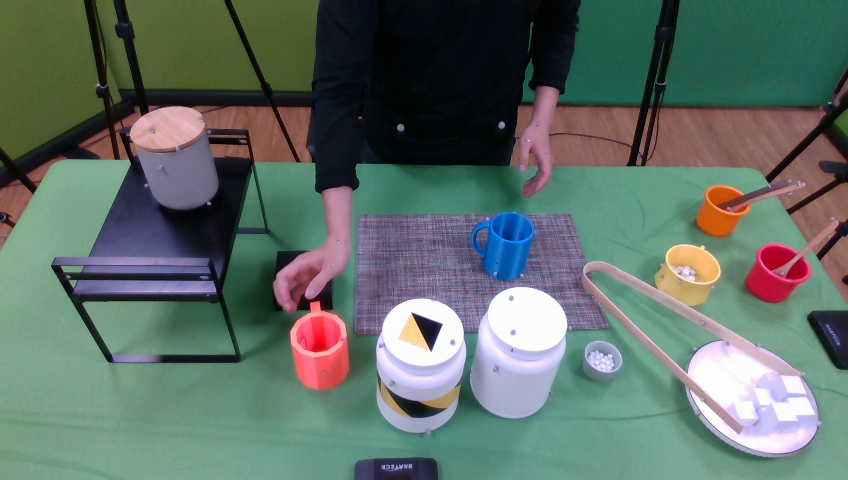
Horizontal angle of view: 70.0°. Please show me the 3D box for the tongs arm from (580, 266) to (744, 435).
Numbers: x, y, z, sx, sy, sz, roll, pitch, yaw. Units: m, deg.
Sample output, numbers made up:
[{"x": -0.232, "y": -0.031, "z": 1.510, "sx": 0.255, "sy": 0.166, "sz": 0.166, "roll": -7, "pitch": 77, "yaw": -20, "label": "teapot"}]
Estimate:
[{"x": 0.384, "y": 0.173, "z": 1.028, "sx": 0.028, "sy": 0.028, "sz": 0.385, "roll": -25, "pitch": 46, "yaw": -15, "label": "tongs arm"}]

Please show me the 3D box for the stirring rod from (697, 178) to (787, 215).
[{"x": 0.650, "y": -0.088, "z": 1.246, "sx": 0.006, "sy": 0.176, "sz": 0.014, "roll": 29, "pitch": 49, "yaw": -38, "label": "stirring rod"}]

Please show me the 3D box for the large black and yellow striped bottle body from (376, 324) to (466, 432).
[{"x": -0.007, "y": 0.189, "z": 0.905, "sx": 0.131, "sy": 0.185, "sz": 0.130, "roll": 2, "pitch": 46, "yaw": -2, "label": "large black and yellow striped bottle body"}]

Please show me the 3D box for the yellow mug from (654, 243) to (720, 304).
[{"x": 0.504, "y": 0.054, "z": 1.154, "sx": 0.099, "sy": 0.064, "sz": 0.130, "roll": 28, "pitch": 50, "yaw": 22, "label": "yellow mug"}]

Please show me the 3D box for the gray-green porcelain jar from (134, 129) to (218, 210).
[{"x": -0.388, "y": -0.120, "z": 0.960, "sx": 0.106, "sy": 0.127, "sz": 0.105, "roll": 2, "pitch": 46, "yaw": -2, "label": "gray-green porcelain jar"}]

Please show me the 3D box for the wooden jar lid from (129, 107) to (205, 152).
[{"x": -0.385, "y": -0.163, "z": 0.915, "sx": 0.108, "sy": 0.021, "sz": 0.107, "roll": 2, "pitch": 47, "yaw": -2, "label": "wooden jar lid"}]

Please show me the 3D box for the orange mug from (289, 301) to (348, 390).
[{"x": -0.170, "y": 0.162, "z": 0.976, "sx": 0.083, "sy": 0.101, "sz": 0.125, "roll": -7, "pitch": 52, "yaw": -11, "label": "orange mug"}]

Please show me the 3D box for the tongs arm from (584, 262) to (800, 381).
[{"x": 0.452, "y": 0.137, "z": 1.064, "sx": 0.051, "sy": 0.027, "sz": 0.382, "roll": -34, "pitch": 50, "yaw": -27, "label": "tongs arm"}]

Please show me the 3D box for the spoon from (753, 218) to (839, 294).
[{"x": 0.700, "y": 0.031, "z": 1.138, "sx": 0.194, "sy": 0.022, "sz": 0.041, "roll": -47, "pitch": 55, "yaw": 14, "label": "spoon"}]

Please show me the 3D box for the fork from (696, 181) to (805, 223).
[{"x": 0.659, "y": -0.077, "z": 1.232, "sx": 0.207, "sy": 0.019, "sz": 0.028, "roll": -26, "pitch": 35, "yaw": 34, "label": "fork"}]

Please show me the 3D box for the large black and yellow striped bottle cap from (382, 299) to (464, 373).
[{"x": -0.002, "y": 0.132, "z": 0.843, "sx": 0.115, "sy": 0.019, "sz": 0.114, "roll": 2, "pitch": 46, "yaw": -1, "label": "large black and yellow striped bottle cap"}]

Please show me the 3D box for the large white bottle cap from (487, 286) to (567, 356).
[{"x": 0.147, "y": 0.114, "z": 0.869, "sx": 0.115, "sy": 0.018, "sz": 0.114, "roll": 3, "pitch": 46, "yaw": -3, "label": "large white bottle cap"}]

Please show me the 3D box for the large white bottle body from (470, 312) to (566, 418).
[{"x": 0.143, "y": 0.173, "z": 0.930, "sx": 0.131, "sy": 0.185, "sz": 0.130, "roll": 2, "pitch": 46, "yaw": -2, "label": "large white bottle body"}]

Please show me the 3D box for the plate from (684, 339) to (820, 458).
[{"x": 0.523, "y": 0.256, "z": 0.982, "sx": 0.208, "sy": 0.039, "sz": 0.206, "roll": 2, "pitch": 46, "yaw": -2, "label": "plate"}]

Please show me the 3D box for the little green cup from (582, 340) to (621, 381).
[{"x": 0.295, "y": 0.204, "z": 1.015, "sx": 0.061, "sy": 0.039, "sz": 0.061, "roll": 2, "pitch": 45, "yaw": -2, "label": "little green cup"}]

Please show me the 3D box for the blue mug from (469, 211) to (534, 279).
[{"x": 0.141, "y": 0.005, "z": 1.140, "sx": 0.116, "sy": 0.106, "sz": 0.082, "roll": 18, "pitch": 48, "yaw": 13, "label": "blue mug"}]
